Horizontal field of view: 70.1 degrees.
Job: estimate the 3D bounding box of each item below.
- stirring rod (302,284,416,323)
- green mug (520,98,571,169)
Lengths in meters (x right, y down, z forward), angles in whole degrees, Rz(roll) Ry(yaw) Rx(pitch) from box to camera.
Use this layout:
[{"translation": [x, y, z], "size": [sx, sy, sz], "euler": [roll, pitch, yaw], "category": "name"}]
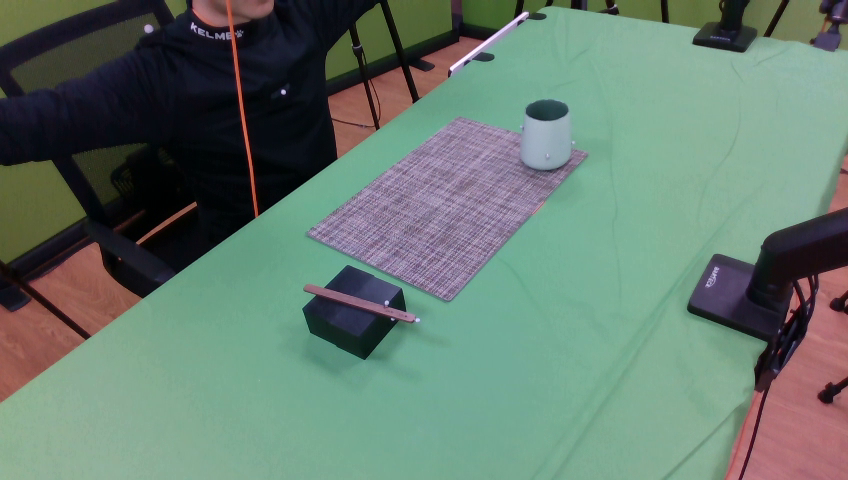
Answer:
[{"translation": [-0.091, 0.085, 0.819], "size": [0.175, 0.006, 0.014], "euler": [13, 48, 22], "category": "stirring rod"}, {"translation": [0.216, -0.200, 1.100], "size": [0.093, 0.105, 0.124], "euler": [-14, 41, -7], "category": "green mug"}]
